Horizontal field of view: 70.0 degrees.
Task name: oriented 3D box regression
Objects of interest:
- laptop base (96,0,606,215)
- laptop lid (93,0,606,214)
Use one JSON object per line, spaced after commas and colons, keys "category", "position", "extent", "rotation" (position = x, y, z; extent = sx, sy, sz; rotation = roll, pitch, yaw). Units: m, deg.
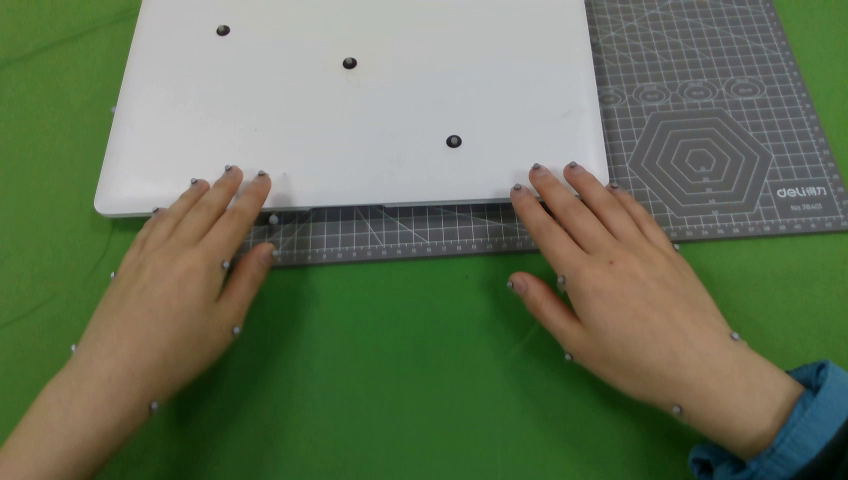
{"category": "laptop base", "position": [-0.055, -0.128, 0.461], "extent": [0.354, 0.023, 0.233], "rotation": [-2, 68, 3]}
{"category": "laptop lid", "position": [-0.055, -0.131, 0.449], "extent": [0.356, 0.013, 0.240], "rotation": [-1, 67, 4]}
